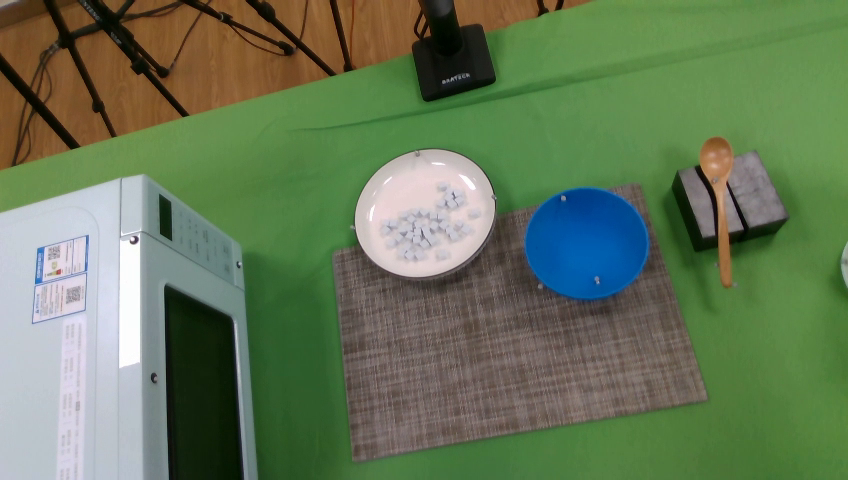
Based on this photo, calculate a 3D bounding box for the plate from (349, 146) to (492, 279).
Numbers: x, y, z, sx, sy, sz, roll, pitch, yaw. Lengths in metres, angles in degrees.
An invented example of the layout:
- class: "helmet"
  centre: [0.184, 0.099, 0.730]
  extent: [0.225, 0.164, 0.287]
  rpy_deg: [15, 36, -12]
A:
- class: "plate"
  centre: [-0.004, -0.037, 0.871]
  extent: [0.209, 0.038, 0.207]
  rpy_deg: [-5, 66, 11]

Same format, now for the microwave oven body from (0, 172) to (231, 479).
- class: "microwave oven body"
  centre: [-0.420, 0.196, 0.751]
  extent: [0.326, 0.262, 0.438]
  rpy_deg: [-14, 68, 6]

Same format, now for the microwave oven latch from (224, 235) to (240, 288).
- class: "microwave oven latch"
  centre: [-0.291, 0.034, 0.889]
  extent: [0.030, 0.030, 0.078]
  rpy_deg: [-14, 68, 6]

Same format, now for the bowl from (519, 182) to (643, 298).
- class: "bowl"
  centre: [0.201, 0.011, 0.785]
  extent: [0.151, 0.077, 0.150]
  rpy_deg: [-4, 69, 11]

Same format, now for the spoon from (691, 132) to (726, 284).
- class: "spoon"
  centre: [0.361, -0.041, 0.756]
  extent: [0.041, 0.022, 0.192]
  rpy_deg: [0, 75, 8]

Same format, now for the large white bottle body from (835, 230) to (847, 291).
- class: "large white bottle body"
  centre: [0.554, 0.002, 0.658]
  extent: [0.130, 0.186, 0.129]
  rpy_deg: [-4, 69, 11]

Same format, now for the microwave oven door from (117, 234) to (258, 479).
- class: "microwave oven door"
  centre: [-0.273, 0.195, 0.714]
  extent: [0.039, 0.246, 0.353]
  rpy_deg: [-15, 67, 7]
